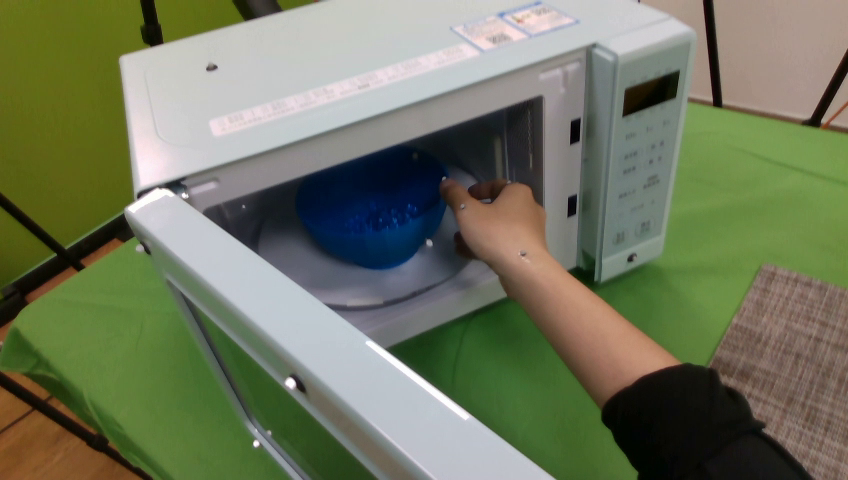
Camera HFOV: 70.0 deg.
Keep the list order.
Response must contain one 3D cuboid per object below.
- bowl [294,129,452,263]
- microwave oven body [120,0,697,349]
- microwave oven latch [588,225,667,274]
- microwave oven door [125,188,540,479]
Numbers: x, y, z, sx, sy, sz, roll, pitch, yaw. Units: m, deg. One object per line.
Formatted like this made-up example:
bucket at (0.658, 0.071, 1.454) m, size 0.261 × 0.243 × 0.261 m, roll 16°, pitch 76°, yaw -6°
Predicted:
bowl at (-0.043, -0.030, 0.594) m, size 0.151 × 0.077 × 0.150 m, roll -6°, pitch 50°, yaw 7°
microwave oven body at (-0.026, -0.085, 0.620) m, size 0.442 × 0.263 × 0.322 m, roll -22°, pitch 42°, yaw -14°
microwave oven latch at (0.208, 0.005, 0.618) m, size 0.079 × 0.030 × 0.030 m, roll -21°, pitch 41°, yaw -12°
microwave oven door at (-0.042, 0.127, 0.358) m, size 0.352 × 0.246 × 0.039 m, roll 28°, pitch 53°, yaw 37°
